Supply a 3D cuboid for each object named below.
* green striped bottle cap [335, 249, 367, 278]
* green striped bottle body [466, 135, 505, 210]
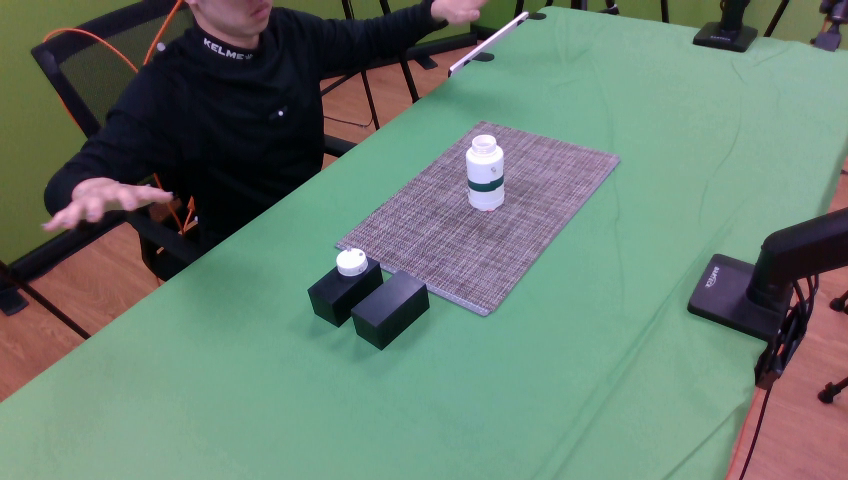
[{"bbox_3d":[-0.105,0.033,0.873,0.044,0.020,0.044,-5,42,5],"label":"green striped bottle cap"},{"bbox_3d":[0.102,-0.114,1.006,0.063,0.120,0.063,-4,40,4],"label":"green striped bottle body"}]
